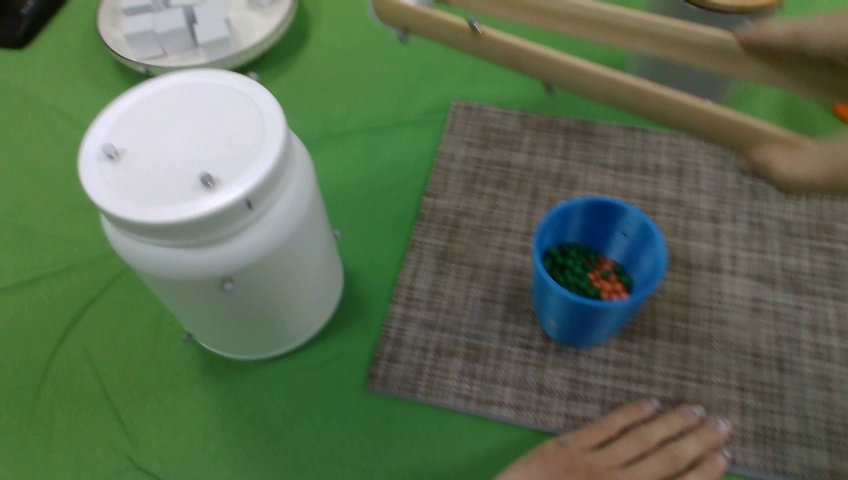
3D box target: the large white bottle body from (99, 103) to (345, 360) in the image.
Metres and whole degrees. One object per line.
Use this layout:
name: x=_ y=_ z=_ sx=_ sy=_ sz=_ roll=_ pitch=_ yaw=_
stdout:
large white bottle body: x=-0.131 y=-0.008 z=0.417 sx=0.130 sy=0.186 sz=0.129 roll=-1 pitch=59 yaw=1

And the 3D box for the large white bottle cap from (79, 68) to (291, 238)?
large white bottle cap: x=-0.134 y=-0.053 z=0.345 sx=0.115 sy=0.018 sz=0.114 roll=-1 pitch=59 yaw=1

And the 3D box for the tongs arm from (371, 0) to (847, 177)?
tongs arm: x=0.140 y=-0.081 z=0.310 sx=0.382 sy=0.027 sz=0.050 roll=27 pitch=69 yaw=21

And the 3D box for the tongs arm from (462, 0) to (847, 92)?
tongs arm: x=0.151 y=-0.099 z=0.317 sx=0.385 sy=0.028 sz=0.028 roll=23 pitch=63 yaw=20

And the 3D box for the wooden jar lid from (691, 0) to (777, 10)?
wooden jar lid: x=0.243 y=-0.219 z=0.495 sx=0.108 sy=0.021 sz=0.107 roll=0 pitch=56 yaw=1

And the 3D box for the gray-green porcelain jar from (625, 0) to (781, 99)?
gray-green porcelain jar: x=0.245 y=-0.187 z=0.548 sx=0.106 sy=0.127 sz=0.105 roll=-1 pitch=59 yaw=2

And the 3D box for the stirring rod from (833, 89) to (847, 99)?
stirring rod: x=0.454 y=-0.170 z=0.524 sx=0.176 sy=0.006 sz=0.014 roll=-27 pitch=53 yaw=36

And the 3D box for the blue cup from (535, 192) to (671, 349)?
blue cup: x=0.118 y=0.032 z=0.430 sx=0.092 sy=0.101 sz=0.092 roll=-2 pitch=58 yaw=4

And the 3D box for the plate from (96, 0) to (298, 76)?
plate: x=-0.236 y=-0.245 z=0.649 sx=0.208 sy=0.039 sz=0.205 roll=-1 pitch=59 yaw=1
